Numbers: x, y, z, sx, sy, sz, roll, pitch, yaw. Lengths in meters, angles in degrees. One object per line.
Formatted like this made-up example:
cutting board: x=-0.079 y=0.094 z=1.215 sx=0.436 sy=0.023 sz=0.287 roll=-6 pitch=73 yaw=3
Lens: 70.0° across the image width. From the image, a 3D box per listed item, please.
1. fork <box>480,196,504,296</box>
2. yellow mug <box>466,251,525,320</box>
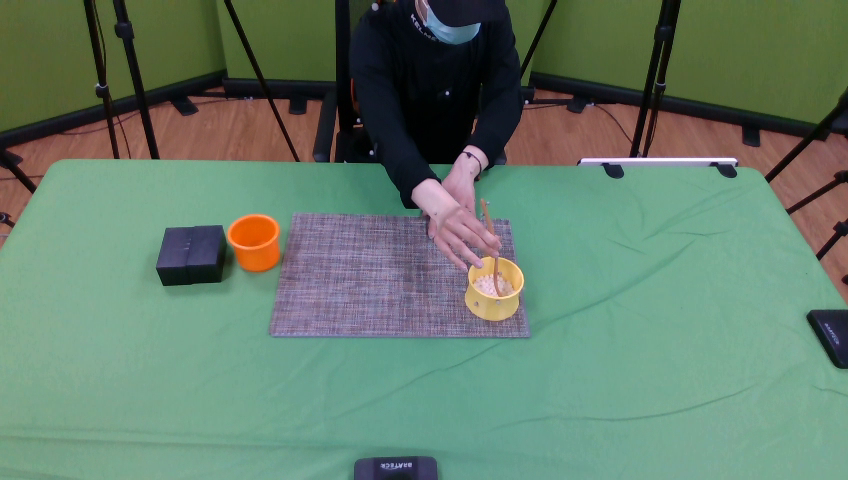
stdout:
fork: x=0.119 y=0.020 z=1.036 sx=0.018 sy=0.208 sz=0.028 roll=-10 pitch=25 yaw=4
yellow mug: x=0.125 y=0.074 z=1.096 sx=0.100 sy=0.064 sz=0.130 roll=-4 pitch=46 yaw=-7
